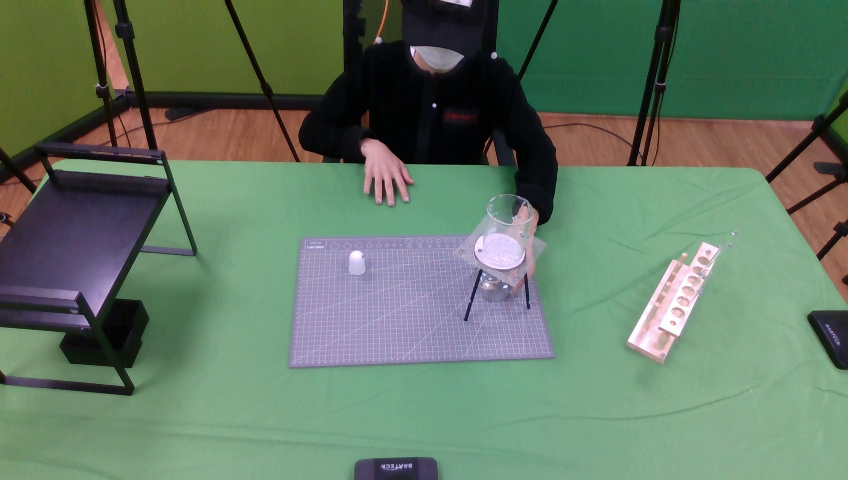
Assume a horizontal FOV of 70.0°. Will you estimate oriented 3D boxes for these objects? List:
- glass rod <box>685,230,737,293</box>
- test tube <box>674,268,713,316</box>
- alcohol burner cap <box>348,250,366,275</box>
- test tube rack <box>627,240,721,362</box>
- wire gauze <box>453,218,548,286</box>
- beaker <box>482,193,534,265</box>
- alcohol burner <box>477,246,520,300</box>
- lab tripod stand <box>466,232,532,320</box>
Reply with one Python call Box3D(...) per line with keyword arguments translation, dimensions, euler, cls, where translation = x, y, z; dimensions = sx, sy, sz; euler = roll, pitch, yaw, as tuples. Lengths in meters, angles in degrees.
Box3D(translation=(0.495, 0.042, 1.051), dimensions=(0.008, 0.200, 0.008), euler=(2, 56, -2), cls="glass rod")
Box3D(translation=(0.445, 0.098, 1.017), dimensions=(0.017, 0.151, 0.017), euler=(4, 49, -4), cls="test tube")
Box3D(translation=(-0.126, 0.039, 1.132), dimensions=(0.034, 0.048, 0.033), euler=(2, 46, -2), cls="alcohol burner cap")
Box3D(translation=(0.452, 0.098, 1.087), dimensions=(0.066, 0.085, 0.242), euler=(28, 51, 22), cls="test tube rack")
Box3D(translation=(0.129, 0.014, 1.018), dimensions=(0.124, 0.011, 0.121), euler=(26, 47, 25), cls="wire gauze")
Box3D(translation=(0.135, -0.016, 0.979), dimensions=(0.073, 0.101, 0.084), euler=(35, 52, 28), cls="beaker")
Box3D(translation=(0.135, 0.053, 1.086), dimensions=(0.078, 0.120, 0.077), euler=(1, 47, -1), cls="alcohol burner")
Box3D(translation=(0.125, 0.059, 1.065), dimensions=(0.148, 0.132, 0.147), euler=(1, 45, 0), cls="lab tripod stand")
